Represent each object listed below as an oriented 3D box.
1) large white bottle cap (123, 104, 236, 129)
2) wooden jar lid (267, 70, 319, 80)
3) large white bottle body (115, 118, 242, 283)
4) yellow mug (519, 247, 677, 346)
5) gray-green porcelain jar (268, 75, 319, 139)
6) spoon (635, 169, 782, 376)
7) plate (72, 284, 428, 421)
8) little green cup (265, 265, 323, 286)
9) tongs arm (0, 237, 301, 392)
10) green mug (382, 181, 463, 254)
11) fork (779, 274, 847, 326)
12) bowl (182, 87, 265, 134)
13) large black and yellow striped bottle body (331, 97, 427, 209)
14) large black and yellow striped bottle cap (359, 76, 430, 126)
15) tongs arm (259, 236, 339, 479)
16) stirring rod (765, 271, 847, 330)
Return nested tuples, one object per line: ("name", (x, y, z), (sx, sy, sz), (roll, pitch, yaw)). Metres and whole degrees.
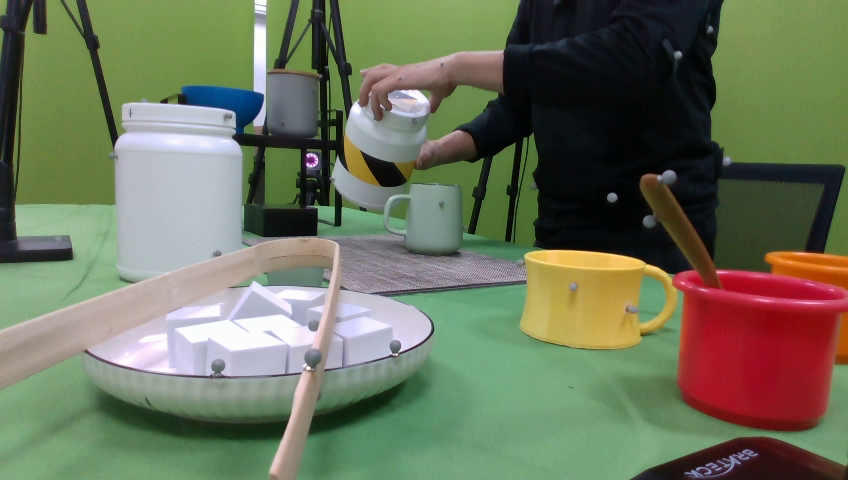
("large white bottle cap", (-0.266, -0.135, 0.663), (0.115, 0.018, 0.115), (3, 7, 0))
("wooden jar lid", (-0.275, -0.340, 1.271), (0.108, 0.020, 0.108), (5, 6, 0))
("large white bottle body", (-0.270, -0.051, 0.673), (0.131, 0.184, 0.130), (2, 8, 0))
("yellow mug", (0.148, 0.045, 0.512), (0.131, 0.064, 0.100), (3, 6, 0))
("gray-green porcelain jar", (-0.277, -0.279, 1.280), (0.106, 0.126, 0.106), (2, 8, 0))
("spoon", (0.161, 0.026, 0.346), (0.041, 0.194, 0.021), (10, 56, 53))
("plate", (-0.102, 0.067, 0.381), (0.208, 0.039, 0.207), (3, 7, 0))
("little green cup", (-0.134, 0.034, 0.628), (0.061, 0.038, 0.061), (3, 6, 0))
("tongs arm", (-0.158, 0.038, 0.346), (0.028, 0.028, 0.388), (-3, 8, 11))
("green mug", (-0.001, -0.036, 0.922), (0.126, 0.105, 0.092), (0, 8, -16))
("fork", (0.332, 0.018, 0.443), (0.028, 0.018, 0.207), (-3, -35, -16))
("bowl", (-0.383, -0.244, 1.158), (0.151, 0.077, 0.151), (2, 7, 0))
("large black and yellow striped bottle body", (-0.073, -0.160, 1.016), (0.131, 0.183, 0.130), (15, 38, -12))
("large black and yellow striped bottle cap", (-0.046, -0.223, 0.965), (0.115, 0.019, 0.115), (15, 40, -12))
("tongs arm", (-0.074, 0.040, 0.345), (0.051, 0.026, 0.384), (-1, 9, -3))
("stirring rod", (0.352, 0.020, 0.481), (0.176, 0.006, 0.014), (-40, -8, 17))
